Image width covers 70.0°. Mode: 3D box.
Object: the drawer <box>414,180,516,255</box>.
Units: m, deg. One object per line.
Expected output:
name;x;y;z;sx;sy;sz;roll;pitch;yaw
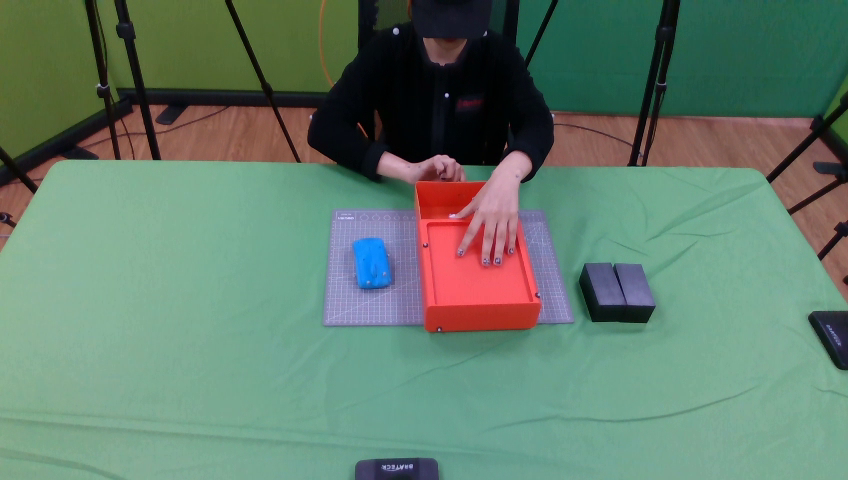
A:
drawer;0.084;-0.025;1.185;0.195;0.073;0.210;0;46;-6

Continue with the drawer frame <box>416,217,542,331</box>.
drawer frame;0.092;0.056;1.105;0.202;0.083;0.212;-1;47;-6

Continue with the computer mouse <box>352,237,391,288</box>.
computer mouse;-0.100;0.039;1.140;0.063;0.041;0.116;-5;51;-11
